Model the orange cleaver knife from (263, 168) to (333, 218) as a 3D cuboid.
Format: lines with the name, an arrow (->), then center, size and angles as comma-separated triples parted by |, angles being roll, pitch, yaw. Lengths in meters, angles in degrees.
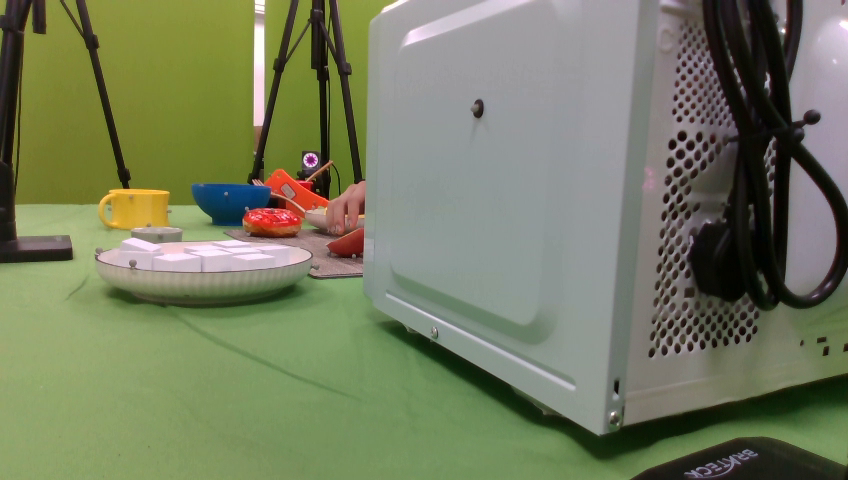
orange cleaver knife -> -0.262, -0.088, 1.352 | 0.211, 0.077, 0.012 | 28, 13, -1

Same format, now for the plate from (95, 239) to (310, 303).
plate -> -0.224, 0.031, 0.629 | 0.208, 0.039, 0.207 | 2, 8, 0

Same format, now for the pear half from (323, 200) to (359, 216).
pear half -> -0.155, -0.059, 1.197 | 0.088, 0.031, 0.070 | 13, 31, -1

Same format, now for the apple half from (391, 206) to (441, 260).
apple half -> -0.005, -0.008, 0.836 | 0.053, 0.074, 0.081 | 9, 4, 24

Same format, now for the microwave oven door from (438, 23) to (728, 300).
microwave oven door -> 0.181, -0.072, 0.621 | 0.358, 0.243, 0.039 | -2, 8, -29

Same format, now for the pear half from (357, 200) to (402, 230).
pear half -> -0.075, -0.046, 1.133 | 0.076, 0.056, 0.110 | 13, 8, 31

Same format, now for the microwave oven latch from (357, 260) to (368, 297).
microwave oven latch -> -0.019, 0.033, 0.530 | 0.079, 0.029, 0.030 | 0, 7, -26

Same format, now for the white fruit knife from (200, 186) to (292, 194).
white fruit knife -> -0.399, -0.111, 1.368 | 0.208, 0.016, 0.027 | -4, -19, -30

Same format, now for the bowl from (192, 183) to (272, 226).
bowl -> -0.381, -0.071, 1.202 | 0.151, 0.077, 0.151 | 3, 7, 0

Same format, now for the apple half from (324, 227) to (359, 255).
apple half -> -0.095, 0.002, 0.847 | 0.081, 0.033, 0.081 | -20, 0, 0

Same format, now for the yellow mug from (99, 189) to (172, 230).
yellow mug -> -0.518, -0.055, 1.080 | 0.099, 0.064, 0.131 | 6, 9, 26

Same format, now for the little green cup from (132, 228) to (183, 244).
little green cup -> -0.342, 0.006, 0.779 | 0.061, 0.038, 0.061 | 2, 8, 0

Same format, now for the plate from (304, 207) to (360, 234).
plate -> -0.123, -0.037, 1.149 | 0.209, 0.038, 0.209 | 2, 7, 0

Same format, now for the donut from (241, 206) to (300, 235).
donut -> -0.263, -0.032, 1.039 | 0.099, 0.048, 0.099 | 4, 10, 0

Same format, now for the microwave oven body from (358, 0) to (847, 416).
microwave oven body -> 0.211, -0.047, 0.474 | 0.444, 0.260, 0.324 | -1, 7, -28

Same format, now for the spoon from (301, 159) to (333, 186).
spoon -> -0.316, -0.159, 1.639 | 0.194, 0.022, 0.041 | -49, 32, -20

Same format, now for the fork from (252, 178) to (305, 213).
fork -> -0.295, -0.084, 1.292 | 0.206, 0.018, 0.028 | 29, 10, 25
